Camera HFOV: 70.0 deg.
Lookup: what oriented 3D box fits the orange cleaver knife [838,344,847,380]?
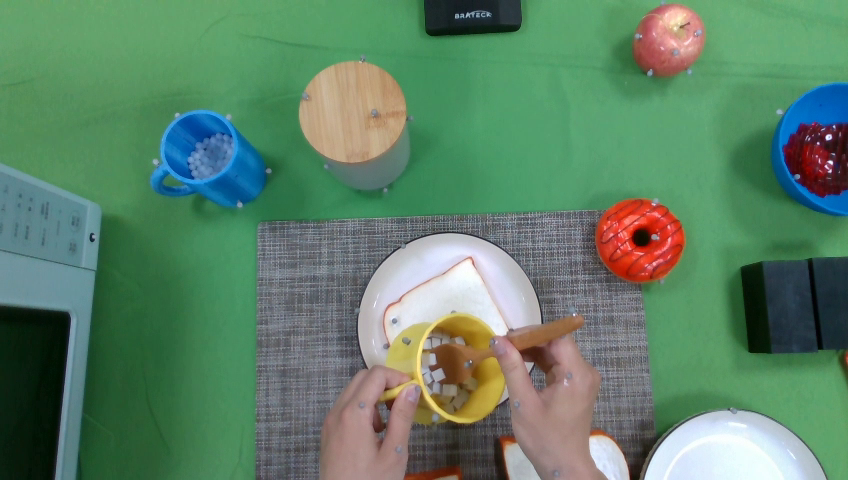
[{"bbox_3d":[0.510,0.210,0.675,0.077,0.012,0.210,0,80,-5],"label":"orange cleaver knife"}]

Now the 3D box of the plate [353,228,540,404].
[{"bbox_3d":[0.025,0.091,0.685,0.208,0.039,0.207,0,82,1],"label":"plate"}]

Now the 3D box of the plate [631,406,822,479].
[{"bbox_3d":[0.323,0.284,0.656,0.209,0.038,0.208,0,81,1],"label":"plate"}]

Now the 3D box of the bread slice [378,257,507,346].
[{"bbox_3d":[0.016,0.093,0.687,0.131,0.019,0.104,-27,81,-6],"label":"bread slice"}]

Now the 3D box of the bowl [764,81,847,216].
[{"bbox_3d":[0.453,-0.094,0.691,0.151,0.077,0.151,0,82,1],"label":"bowl"}]

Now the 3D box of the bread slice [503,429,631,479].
[{"bbox_3d":[0.156,0.259,0.635,0.135,0.018,0.106,-7,78,-20],"label":"bread slice"}]

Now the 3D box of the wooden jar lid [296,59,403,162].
[{"bbox_3d":[-0.075,-0.130,0.616,0.108,0.021,0.108,0,79,1],"label":"wooden jar lid"}]

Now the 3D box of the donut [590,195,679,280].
[{"bbox_3d":[0.239,-0.003,0.693,0.099,0.048,0.098,0,82,1],"label":"donut"}]

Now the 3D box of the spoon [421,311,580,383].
[{"bbox_3d":[0.059,0.093,0.523,0.022,0.193,0.041,-25,87,-39],"label":"spoon"}]

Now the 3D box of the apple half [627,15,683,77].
[{"bbox_3d":[0.262,-0.219,0.713,0.033,0.081,0.081,-35,82,-9],"label":"apple half"}]

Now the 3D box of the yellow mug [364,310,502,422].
[{"bbox_3d":[0.004,0.125,0.568,0.131,0.064,0.099,-16,83,-33],"label":"yellow mug"}]

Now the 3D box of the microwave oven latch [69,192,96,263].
[{"bbox_3d":[-0.397,-0.014,0.691,0.030,0.029,0.079,3,82,1],"label":"microwave oven latch"}]

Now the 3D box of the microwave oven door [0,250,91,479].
[{"bbox_3d":[-0.406,0.186,0.558,0.039,0.244,0.354,1,81,1],"label":"microwave oven door"}]

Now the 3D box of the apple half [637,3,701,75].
[{"bbox_3d":[0.293,-0.241,0.718,0.053,0.075,0.080,-34,78,-10],"label":"apple half"}]

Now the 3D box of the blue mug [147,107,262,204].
[{"bbox_3d":[-0.252,-0.084,0.684,0.116,0.106,0.082,-27,81,-3],"label":"blue mug"}]

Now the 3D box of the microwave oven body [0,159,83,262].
[{"bbox_3d":[-0.551,0.141,0.571,0.326,0.261,0.440,1,82,0],"label":"microwave oven body"}]

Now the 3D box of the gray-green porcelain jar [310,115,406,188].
[{"bbox_3d":[-0.074,-0.119,0.677,0.106,0.127,0.105,0,81,1],"label":"gray-green porcelain jar"}]
